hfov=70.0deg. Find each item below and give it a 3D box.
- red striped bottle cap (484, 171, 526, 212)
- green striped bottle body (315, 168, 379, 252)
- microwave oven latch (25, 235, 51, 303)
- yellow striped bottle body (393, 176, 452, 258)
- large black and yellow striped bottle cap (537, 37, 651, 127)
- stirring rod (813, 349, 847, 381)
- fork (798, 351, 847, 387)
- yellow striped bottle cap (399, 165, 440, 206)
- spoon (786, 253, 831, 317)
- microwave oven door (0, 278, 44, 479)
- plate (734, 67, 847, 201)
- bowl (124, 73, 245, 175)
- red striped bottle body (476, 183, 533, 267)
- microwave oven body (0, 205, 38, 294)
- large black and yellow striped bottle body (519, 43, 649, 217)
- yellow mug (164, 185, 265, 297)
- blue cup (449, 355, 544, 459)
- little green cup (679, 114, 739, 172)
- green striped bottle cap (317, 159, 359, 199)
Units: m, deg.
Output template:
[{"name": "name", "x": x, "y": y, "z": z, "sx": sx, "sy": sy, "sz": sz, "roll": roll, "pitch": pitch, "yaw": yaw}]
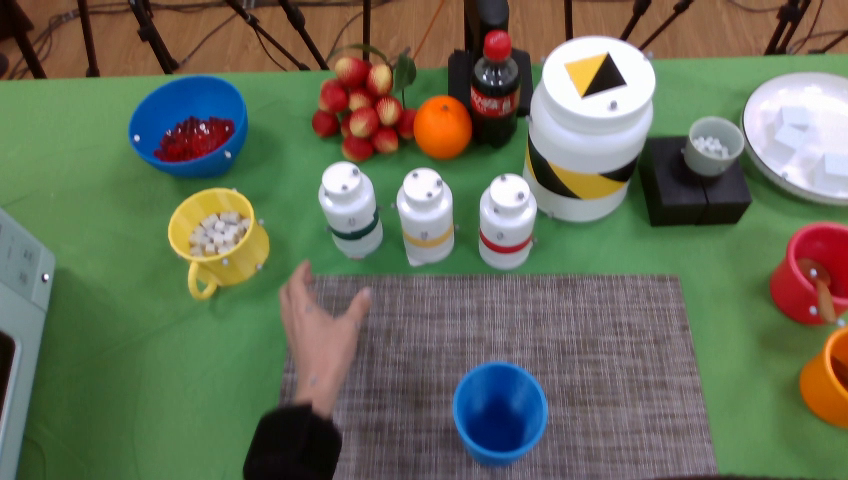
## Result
[{"name": "red striped bottle cap", "x": 0.087, "y": -0.052, "z": 0.643, "sx": 0.044, "sy": 0.018, "sz": 0.044, "roll": 0, "pitch": 59, "yaw": 0}, {"name": "green striped bottle body", "x": -0.090, "y": -0.040, "z": 0.709, "sx": 0.063, "sy": 0.120, "sz": 0.062, "roll": -1, "pitch": 60, "yaw": 3}, {"name": "microwave oven latch", "x": -0.464, "y": 0.036, "z": 0.713, "sx": 0.030, "sy": 0.030, "sz": 0.078, "roll": -7, "pitch": 61, "yaw": -1}, {"name": "yellow striped bottle body", "x": -0.001, "y": -0.034, "z": 0.699, "sx": 0.063, "sy": 0.121, "sz": 0.062, "roll": -2, "pitch": 59, "yaw": 4}, {"name": "large black and yellow striped bottle cap", "x": 0.176, "y": -0.167, "z": 0.630, "sx": 0.115, "sy": 0.019, "sz": 0.114, "roll": -2, "pitch": 59, "yaw": 3}, {"name": "stirring rod", "x": 0.416, "y": 0.143, "z": 0.562, "sx": 0.014, "sy": 0.006, "sz": 0.175, "roll": 1, "pitch": 17, "yaw": 2}, {"name": "fork", "x": 0.446, "y": 0.143, "z": 0.552, "sx": 0.028, "sy": 0.019, "sz": 0.206, "roll": -36, "pitch": 20, "yaw": -15}, {"name": "yellow striped bottle cap", "x": -0.005, "y": -0.059, "z": 0.654, "sx": 0.044, "sy": 0.019, "sz": 0.044, "roll": -1, "pitch": 61, "yaw": 3}, {"name": "spoon", "x": 0.396, "y": 0.042, "z": 0.616, "sx": 0.041, "sy": 0.194, "sz": 0.022, "roll": 30, "pitch": 111, "yaw": 19}, {"name": "microwave oven door", "x": -0.441, "y": 0.172, "z": 0.517, "sx": 0.039, "sy": 0.246, "sz": 0.352, "roll": -9, "pitch": 60, "yaw": -1}, {"name": "plate", "x": 0.501, "y": -0.133, "z": 0.772, "sx": 0.209, "sy": 0.038, "sz": 0.207, "roll": -1, "pitch": 60, "yaw": 3}, {"name": "bowl", "x": -0.303, "y": -0.139, "z": 0.803, "sx": 0.151, "sy": 0.077, "sz": 0.150, "roll": -1, "pitch": 60, "yaw": 2}, {"name": "red striped bottle body", "x": 0.091, "y": -0.024, "z": 0.688, "sx": 0.063, "sy": 0.121, "sz": 0.062, "roll": -4, "pitch": 57, "yaw": 6}, {"name": "microwave oven body", "x": -0.591, "y": 0.160, "z": 0.538, "sx": 0.326, "sy": 0.262, "sz": 0.437, "roll": -9, "pitch": 61, "yaw": -2}, {"name": "large black and yellow striped bottle body", "x": 0.182, "y": -0.126, "z": 0.703, "sx": 0.131, "sy": 0.185, "sz": 0.129, "roll": -2, "pitch": 60, "yaw": 3}, {"name": "yellow mug", "x": -0.253, "y": 0.006, "z": 0.723, "sx": 0.100, "sy": 0.064, "sz": 0.130, "roll": 9, "pitch": 62, "yaw": 7}, {"name": "blue cup", "x": 0.066, "y": 0.169, "z": 0.584, "sx": 0.092, "sy": 0.101, "sz": 0.092, "roll": -1, "pitch": 59, "yaw": 1}, {"name": "little green cup", "x": 0.332, "y": -0.112, "z": 0.712, "sx": 0.061, "sy": 0.039, "sz": 0.061, "roll": -1, "pitch": 59, "yaw": 2}, {"name": "green striped bottle cap", "x": -0.095, "y": -0.067, "z": 0.664, "sx": 0.044, "sy": 0.020, "sz": 0.044, "roll": -1, "pitch": 60, "yaw": 1}]
